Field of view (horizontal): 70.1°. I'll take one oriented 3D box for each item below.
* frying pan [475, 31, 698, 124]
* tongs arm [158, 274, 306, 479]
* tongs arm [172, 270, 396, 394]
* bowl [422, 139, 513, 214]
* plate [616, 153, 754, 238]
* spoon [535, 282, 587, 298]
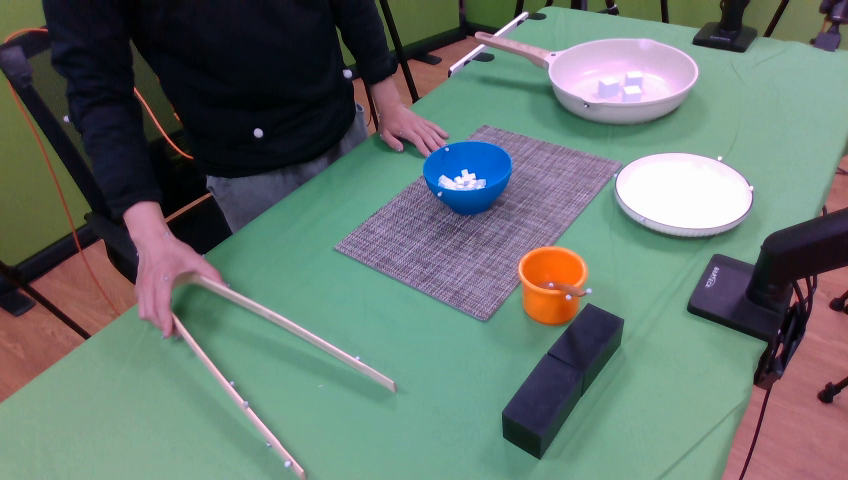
[{"bbox_3d":[0.320,-0.371,1.290,0.485,0.103,0.307,28,50,23],"label":"frying pan"},{"bbox_3d":[-0.253,0.161,0.786,0.381,0.026,0.051,34,55,31],"label":"tongs arm"},{"bbox_3d":[-0.200,0.119,0.831,0.385,0.028,0.028,23,53,23],"label":"tongs arm"},{"bbox_3d":[0.075,-0.097,1.021,0.151,0.077,0.150,-4,41,4],"label":"bowl"},{"bbox_3d":[0.416,-0.069,0.977,0.207,0.039,0.206,-4,40,4],"label":"plate"},{"bbox_3d":[0.176,0.063,0.774,0.041,0.194,0.021,-3,85,1],"label":"spoon"}]
